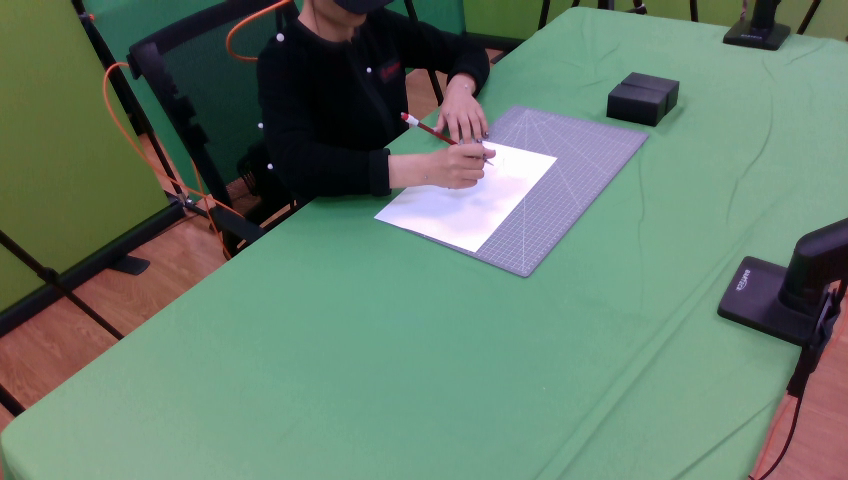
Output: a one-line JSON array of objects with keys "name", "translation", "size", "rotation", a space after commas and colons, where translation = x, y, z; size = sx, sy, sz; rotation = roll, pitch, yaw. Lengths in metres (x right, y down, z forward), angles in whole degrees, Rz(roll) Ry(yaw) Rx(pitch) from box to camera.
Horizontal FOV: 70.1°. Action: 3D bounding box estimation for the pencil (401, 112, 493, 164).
[{"name": "pencil", "translation": [0.043, -0.167, 1.008], "size": [0.196, 0.012, 0.012], "rotation": [23, 30, -29]}]
